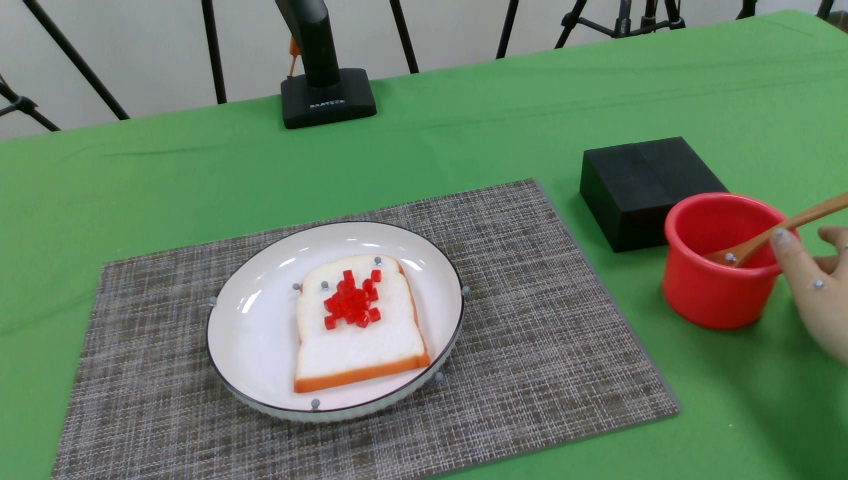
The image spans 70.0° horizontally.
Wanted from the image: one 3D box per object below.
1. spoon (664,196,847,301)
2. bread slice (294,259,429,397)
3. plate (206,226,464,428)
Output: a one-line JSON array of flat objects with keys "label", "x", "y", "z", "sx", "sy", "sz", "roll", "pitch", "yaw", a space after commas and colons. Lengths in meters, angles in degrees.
[{"label": "spoon", "x": 0.276, "y": -0.001, "z": 0.468, "sx": 0.194, "sy": 0.022, "sz": 0.041, "roll": -37, "pitch": 25, "yaw": 35}, {"label": "bread slice", "x": -0.059, "y": 0.066, "z": 0.507, "sx": 0.105, "sy": 0.019, "sz": 0.130, "roll": -10, "pitch": 42, "yaw": -6}, {"label": "plate", "x": -0.071, "y": 0.067, "z": 0.503, "sx": 0.209, "sy": 0.038, "sz": 0.207, "roll": -3, "pitch": 42, "yaw": 3}]
